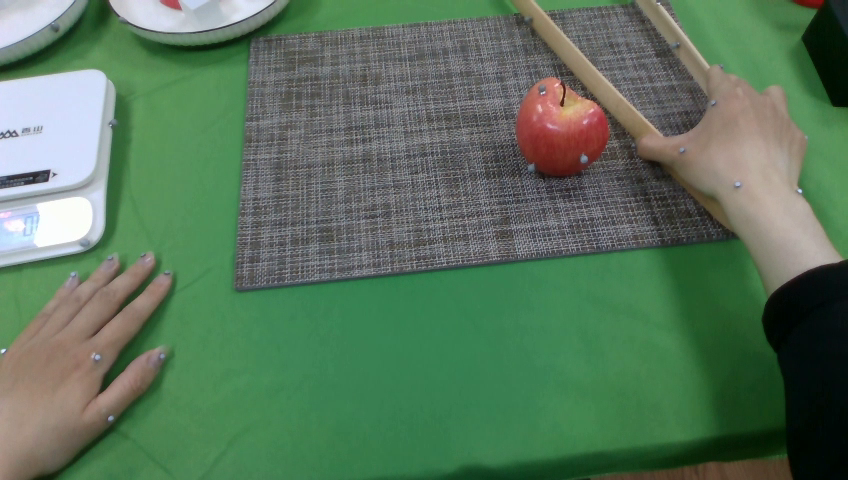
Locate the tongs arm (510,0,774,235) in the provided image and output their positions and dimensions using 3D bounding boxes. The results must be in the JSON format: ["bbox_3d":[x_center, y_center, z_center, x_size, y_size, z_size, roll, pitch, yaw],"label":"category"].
[{"bbox_3d":[0.173,-0.149,0.572,0.028,0.028,0.383,-24,62,-16],"label":"tongs arm"}]

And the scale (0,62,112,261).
[{"bbox_3d":[-0.359,-0.073,0.539,0.149,0.032,0.199,-11,60,-5],"label":"scale"}]

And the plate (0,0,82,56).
[{"bbox_3d":[-0.464,-0.260,0.650,0.208,0.039,0.205,0,59,1],"label":"plate"}]

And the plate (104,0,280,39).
[{"bbox_3d":[-0.241,-0.288,0.662,0.209,0.038,0.207,0,59,1],"label":"plate"}]

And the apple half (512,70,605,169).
[{"bbox_3d":[0.105,-0.094,0.513,0.053,0.075,0.080,-41,70,-16],"label":"apple half"}]

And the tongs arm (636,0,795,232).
[{"bbox_3d":[0.238,-0.173,0.582,0.051,0.027,0.381,-17,61,-9],"label":"tongs arm"}]

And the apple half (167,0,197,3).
[{"bbox_3d":[-0.262,-0.295,0.660,0.081,0.033,0.080,-2,57,4],"label":"apple half"}]
